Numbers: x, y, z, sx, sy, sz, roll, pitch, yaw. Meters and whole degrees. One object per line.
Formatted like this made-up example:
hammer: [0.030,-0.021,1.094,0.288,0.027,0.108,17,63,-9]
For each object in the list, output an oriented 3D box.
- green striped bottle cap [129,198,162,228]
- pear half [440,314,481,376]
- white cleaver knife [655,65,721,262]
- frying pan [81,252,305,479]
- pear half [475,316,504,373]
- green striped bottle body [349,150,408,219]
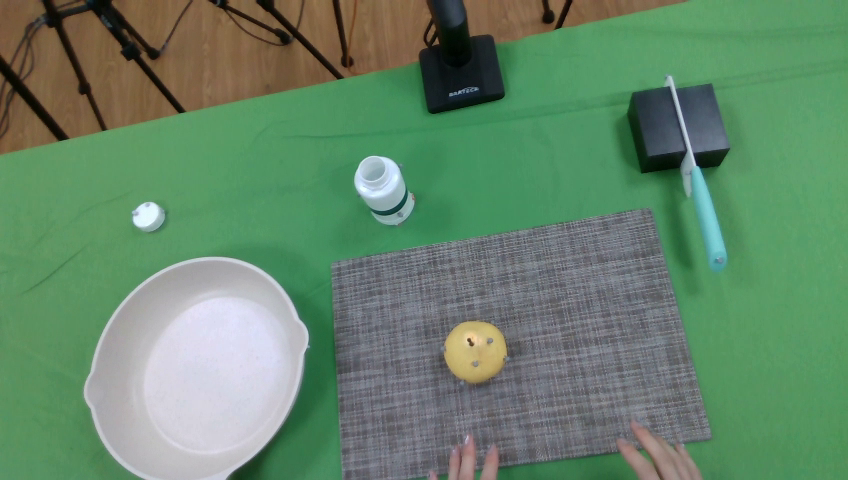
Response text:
green striped bottle cap: [-0.428,-0.042,0.931,0.044,0.020,0.044,-3,70,9]
pear half: [0.045,0.125,0.741,0.056,0.111,0.075,-5,65,8]
white cleaver knife: [0.344,-0.104,0.798,0.021,0.066,0.284,-10,67,13]
frying pan: [-0.277,0.250,0.758,0.307,0.104,0.483,-14,61,5]
pear half: [0.082,0.127,0.745,0.031,0.089,0.070,-6,66,9]
green striped bottle body: [-0.063,-0.079,0.829,0.063,0.120,0.063,-3,70,9]
